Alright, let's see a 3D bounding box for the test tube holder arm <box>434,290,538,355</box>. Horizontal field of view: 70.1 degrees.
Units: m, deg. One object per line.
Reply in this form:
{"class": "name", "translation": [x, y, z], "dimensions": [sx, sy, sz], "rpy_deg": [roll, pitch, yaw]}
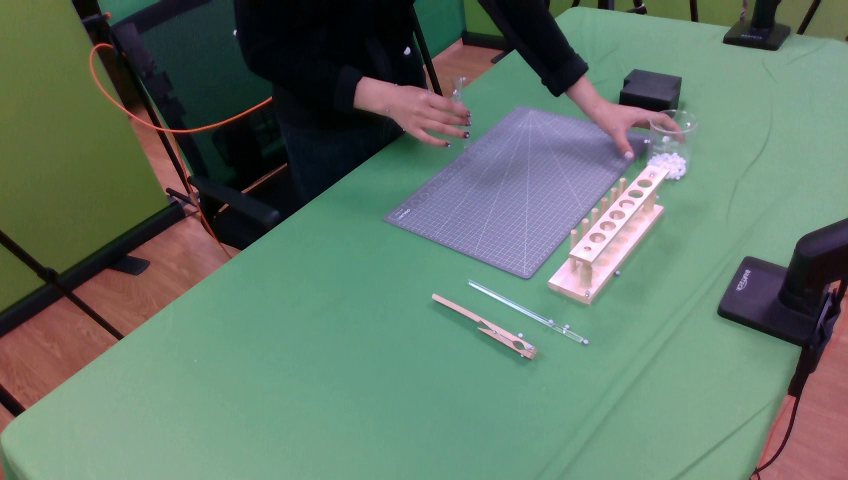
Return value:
{"class": "test tube holder arm", "translation": [0.081, 0.112, 0.832], "dimensions": [0.177, 0.015, 0.013], "rpy_deg": [29, 83, 36]}

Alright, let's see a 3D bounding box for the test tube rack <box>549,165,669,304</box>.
{"class": "test tube rack", "translation": [0.279, -0.018, 0.902], "dimensions": [0.066, 0.085, 0.243], "rpy_deg": [24, 50, 33]}

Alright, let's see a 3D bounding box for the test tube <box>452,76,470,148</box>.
{"class": "test tube", "translation": [0.065, -0.215, 1.036], "dimensions": [0.017, 0.151, 0.017], "rpy_deg": [-6, 49, 7]}

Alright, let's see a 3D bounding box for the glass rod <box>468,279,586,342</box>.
{"class": "glass rod", "translation": [0.140, 0.096, 0.852], "dimensions": [0.198, 0.008, 0.008], "rpy_deg": [27, 52, 35]}

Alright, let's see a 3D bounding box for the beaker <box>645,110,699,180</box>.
{"class": "beaker", "translation": [0.417, -0.160, 1.032], "dimensions": [0.083, 0.101, 0.074], "rpy_deg": [25, 51, 35]}

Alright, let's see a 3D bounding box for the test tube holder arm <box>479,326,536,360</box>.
{"class": "test tube holder arm", "translation": [0.110, 0.134, 0.805], "dimensions": [0.087, 0.015, 0.010], "rpy_deg": [29, 83, 36]}
